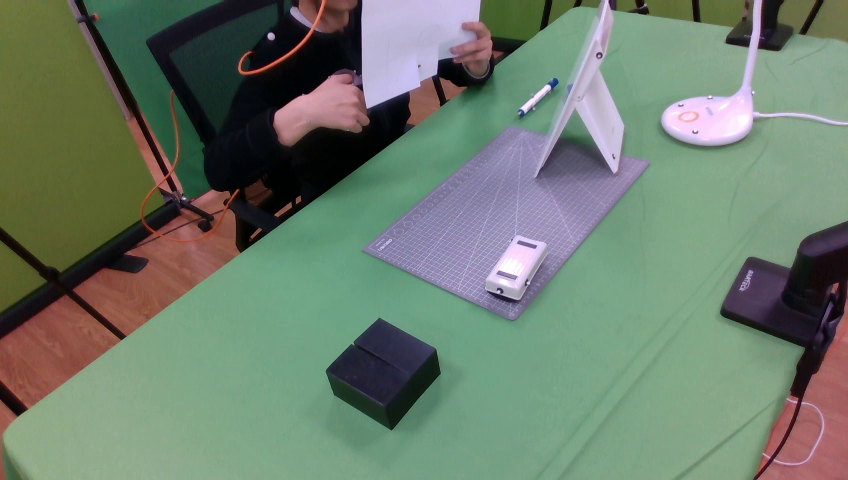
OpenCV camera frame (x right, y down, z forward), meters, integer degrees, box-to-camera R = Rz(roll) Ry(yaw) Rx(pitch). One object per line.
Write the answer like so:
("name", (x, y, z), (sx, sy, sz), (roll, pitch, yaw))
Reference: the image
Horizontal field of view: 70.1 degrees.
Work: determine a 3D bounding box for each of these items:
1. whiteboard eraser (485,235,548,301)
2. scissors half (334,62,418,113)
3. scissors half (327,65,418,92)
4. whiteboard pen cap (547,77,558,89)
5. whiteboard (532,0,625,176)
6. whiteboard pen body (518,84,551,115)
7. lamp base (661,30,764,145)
("whiteboard eraser", (0.137, 0.042, 0.887), (0.055, 0.042, 0.113), (15, 45, 27))
("scissors half", (-0.083, -0.276, 1.084), (0.175, 0.040, 0.012), (-35, 35, -12))
("scissors half", (-0.088, -0.294, 1.074), (0.176, 0.040, 0.012), (-16, 24, -23))
("whiteboard pen cap", (0.279, -0.341, 1.321), (0.018, 0.018, 0.033), (22, 51, 31))
("whiteboard", (0.320, -0.259, 1.050), (0.144, 0.306, 0.217), (21, 45, 5))
("whiteboard pen body", (0.242, -0.306, 1.290), (0.017, 0.017, 0.141), (24, 52, 33))
("lamp base", (0.535, -0.287, 1.096), (0.179, 0.181, 0.159), (-10, 40, -4))
